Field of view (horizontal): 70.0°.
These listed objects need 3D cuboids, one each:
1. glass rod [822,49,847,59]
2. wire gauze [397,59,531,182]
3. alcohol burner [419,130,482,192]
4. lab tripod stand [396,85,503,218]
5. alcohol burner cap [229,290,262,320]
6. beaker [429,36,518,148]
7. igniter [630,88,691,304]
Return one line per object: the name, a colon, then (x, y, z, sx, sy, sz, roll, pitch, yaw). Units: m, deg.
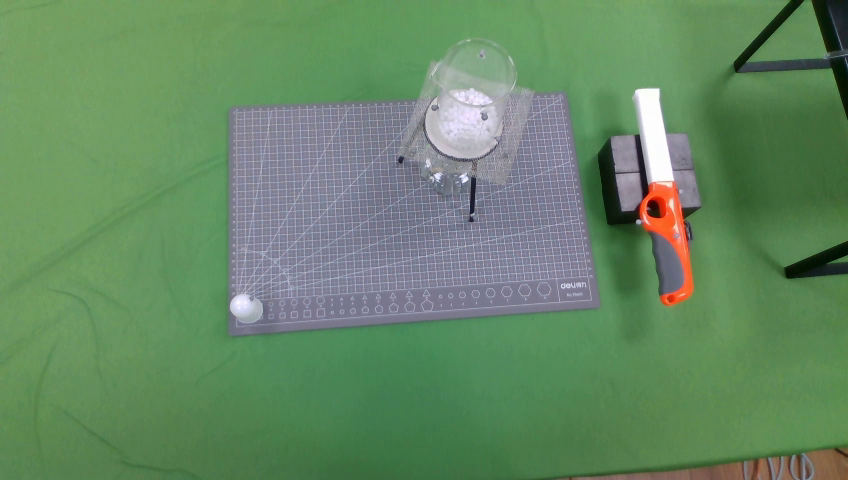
glass rod: (0.526, -0.218, 0.662, 0.200, 0.008, 0.008, -12, 75, -7)
wire gauze: (0.046, -0.130, 0.659, 0.121, 0.011, 0.124, 19, 70, 0)
alcohol burner: (0.033, -0.103, 0.729, 0.078, 0.119, 0.077, 1, 76, -2)
lab tripod stand: (0.040, -0.115, 0.723, 0.148, 0.132, 0.147, 1, 72, -3)
alcohol burner cap: (-0.209, 0.073, 0.701, 0.034, 0.048, 0.033, 1, 73, -4)
beaker: (0.045, -0.144, 0.612, 0.084, 0.101, 0.073, -4, 72, -3)
igniter: (0.284, -0.059, 0.732, 0.057, 0.025, 0.275, -2, 73, -1)
